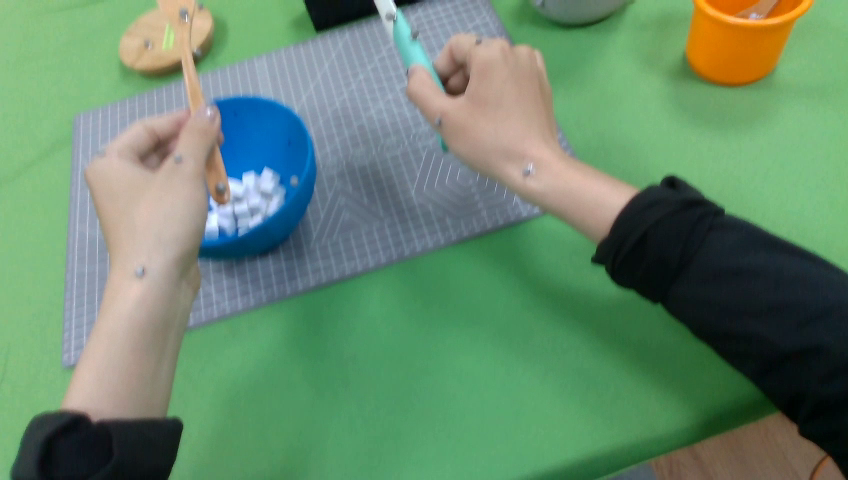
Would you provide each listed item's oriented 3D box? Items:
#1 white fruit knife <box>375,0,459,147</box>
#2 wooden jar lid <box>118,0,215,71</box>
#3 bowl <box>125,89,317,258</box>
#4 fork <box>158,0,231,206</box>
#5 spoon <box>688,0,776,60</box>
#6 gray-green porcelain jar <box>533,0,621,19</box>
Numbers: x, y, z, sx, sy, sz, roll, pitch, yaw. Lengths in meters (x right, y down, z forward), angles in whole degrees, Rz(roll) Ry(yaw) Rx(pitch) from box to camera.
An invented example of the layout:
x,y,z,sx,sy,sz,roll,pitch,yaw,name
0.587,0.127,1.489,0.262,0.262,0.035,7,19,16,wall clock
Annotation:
x,y,z,sx,sy,sz,roll,pitch,yaw,name
-0.020,-0.163,0.455,0.016,0.027,0.206,-15,70,-28,white fruit knife
-0.280,-0.226,0.667,0.108,0.021,0.107,-4,59,7,wooden jar lid
-0.151,-0.041,0.495,0.151,0.077,0.150,-5,59,8,bowl
-0.157,-0.119,0.408,0.028,0.019,0.206,-14,74,-13,fork
0.296,-0.210,0.473,0.022,0.194,0.041,10,55,-36,spoon
0.144,-0.280,0.556,0.106,0.128,0.105,-5,59,9,gray-green porcelain jar
